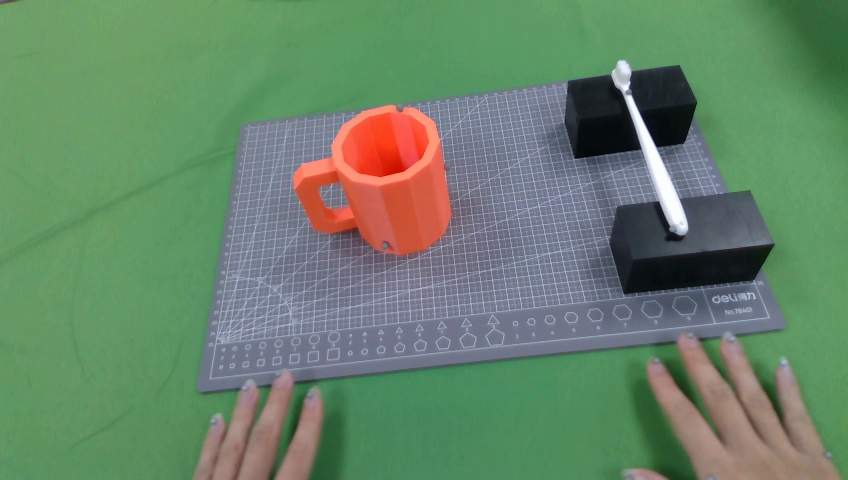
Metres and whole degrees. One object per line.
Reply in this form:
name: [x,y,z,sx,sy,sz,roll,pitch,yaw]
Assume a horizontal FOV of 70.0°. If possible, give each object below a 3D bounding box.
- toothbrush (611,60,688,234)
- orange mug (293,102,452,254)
toothbrush: [0.180,-0.081,0.488,0.014,0.017,0.180,0,56,-9]
orange mug: [-0.041,-0.047,0.508,0.126,0.102,0.082,-11,55,-4]
